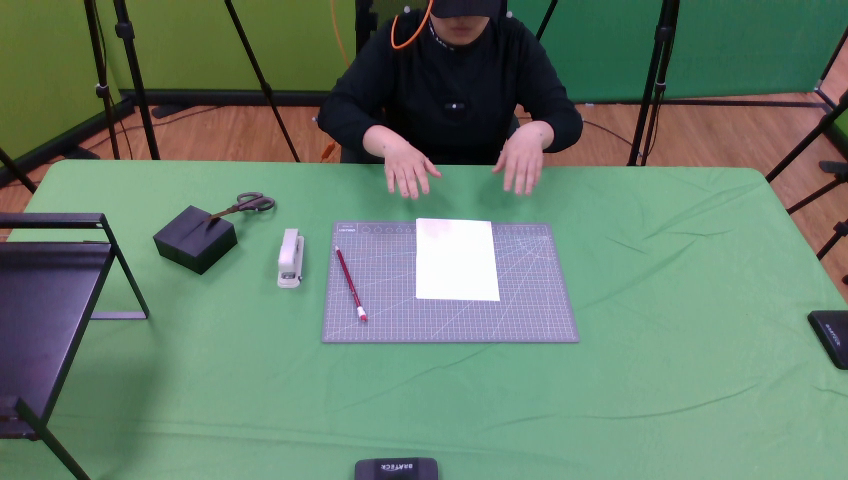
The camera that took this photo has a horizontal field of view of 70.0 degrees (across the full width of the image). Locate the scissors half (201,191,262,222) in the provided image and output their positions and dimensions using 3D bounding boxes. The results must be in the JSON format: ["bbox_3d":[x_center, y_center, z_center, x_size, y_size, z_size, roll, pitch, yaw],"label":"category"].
[{"bbox_3d":[-0.381,-0.066,1.198,0.040,0.013,0.175,25,28,9],"label":"scissors half"}]

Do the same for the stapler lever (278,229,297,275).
[{"bbox_3d":[-0.254,0.016,1.128,0.027,0.040,0.117,1,45,-7],"label":"stapler lever"}]

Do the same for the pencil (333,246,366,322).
[{"bbox_3d":[-0.140,0.076,1.116,0.012,0.012,0.192,-14,48,-17],"label":"pencil"}]

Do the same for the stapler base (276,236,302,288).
[{"bbox_3d":[-0.254,0.034,1.144,0.041,0.024,0.129,1,44,-7],"label":"stapler base"}]

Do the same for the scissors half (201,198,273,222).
[{"bbox_3d":[-0.365,-0.056,1.192,0.040,0.013,0.175,39,32,22],"label":"scissors half"}]
